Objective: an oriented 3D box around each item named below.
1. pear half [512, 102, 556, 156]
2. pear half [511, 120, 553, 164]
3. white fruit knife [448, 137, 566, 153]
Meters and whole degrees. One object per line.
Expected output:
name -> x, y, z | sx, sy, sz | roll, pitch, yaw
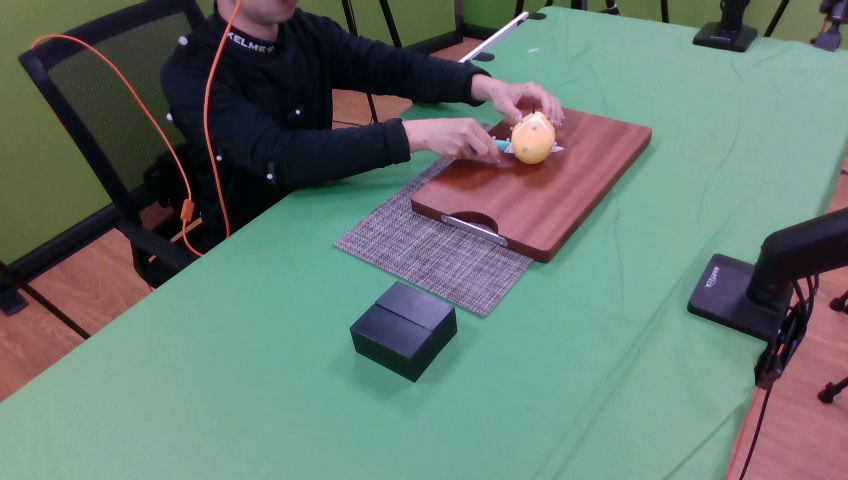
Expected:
pear half -> 0.194, -0.197, 1.060 | 0.076, 0.110, 0.056 | 5, 42, 7
pear half -> 0.186, -0.162, 1.038 | 0.070, 0.088, 0.031 | 0, 49, 5
white fruit knife -> 0.144, -0.165, 1.063 | 0.207, 0.027, 0.016 | 5, 49, 9
